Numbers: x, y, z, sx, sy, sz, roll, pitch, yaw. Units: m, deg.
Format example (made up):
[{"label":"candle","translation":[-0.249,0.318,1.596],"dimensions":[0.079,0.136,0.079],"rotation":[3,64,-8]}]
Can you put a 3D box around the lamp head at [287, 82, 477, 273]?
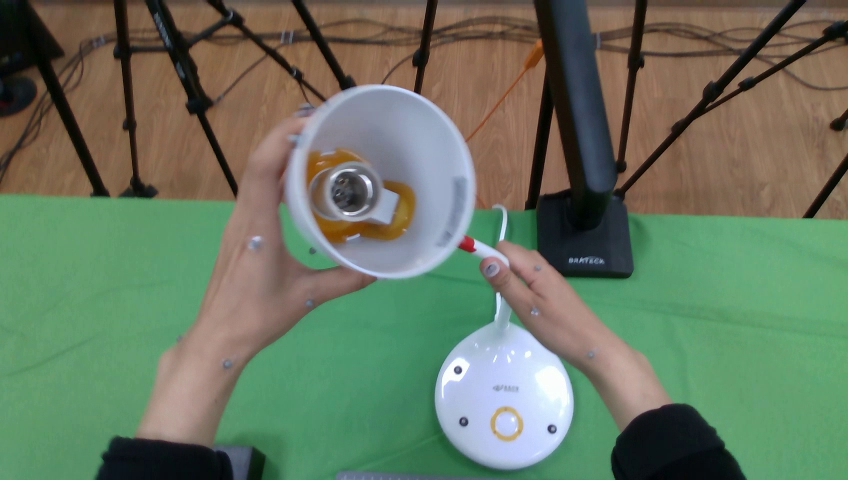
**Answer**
[{"label":"lamp head","translation":[-0.038,-0.035,0.401],"dimensions":[0.113,0.122,0.112],"rotation":[0,90,-22]}]

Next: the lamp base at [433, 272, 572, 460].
[{"label":"lamp base","translation":[0.086,0.124,0.645],"dimensions":[0.161,0.182,0.177],"rotation":[-8,58,-2]}]
